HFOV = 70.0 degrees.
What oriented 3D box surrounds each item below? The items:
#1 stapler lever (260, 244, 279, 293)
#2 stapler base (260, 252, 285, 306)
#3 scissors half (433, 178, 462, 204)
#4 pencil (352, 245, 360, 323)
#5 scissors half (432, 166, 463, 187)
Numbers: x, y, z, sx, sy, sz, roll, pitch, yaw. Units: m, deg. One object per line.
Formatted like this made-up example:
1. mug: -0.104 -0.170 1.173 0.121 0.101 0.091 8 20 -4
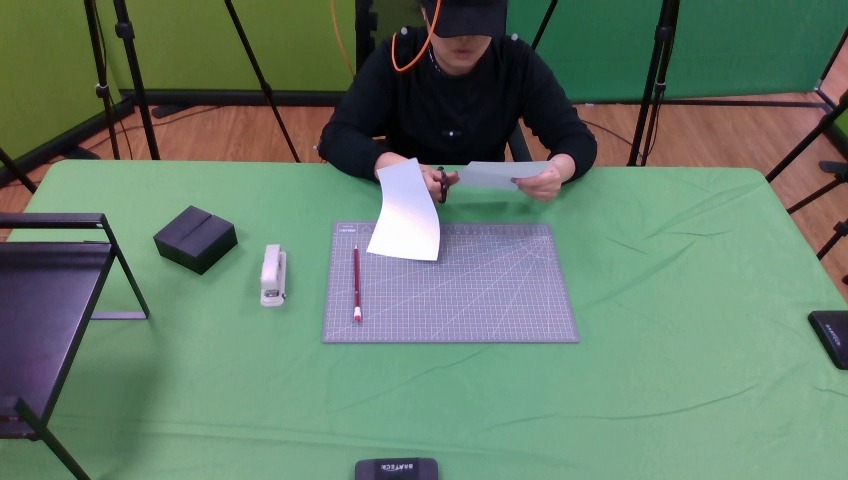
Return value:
1. stapler lever: -0.279 0.045 1.096 0.027 0.040 0.117 -2 44 -9
2. stapler base: -0.279 0.064 1.113 0.041 0.024 0.129 -2 44 -9
3. scissors half: 0.046 -0.099 1.165 0.013 0.175 0.040 -10 86 -15
4. pencil: -0.127 0.076 1.120 0.012 0.012 0.192 -2 44 -7
5. scissors half: 0.044 -0.119 1.163 0.013 0.040 0.174 -5 11 -16
